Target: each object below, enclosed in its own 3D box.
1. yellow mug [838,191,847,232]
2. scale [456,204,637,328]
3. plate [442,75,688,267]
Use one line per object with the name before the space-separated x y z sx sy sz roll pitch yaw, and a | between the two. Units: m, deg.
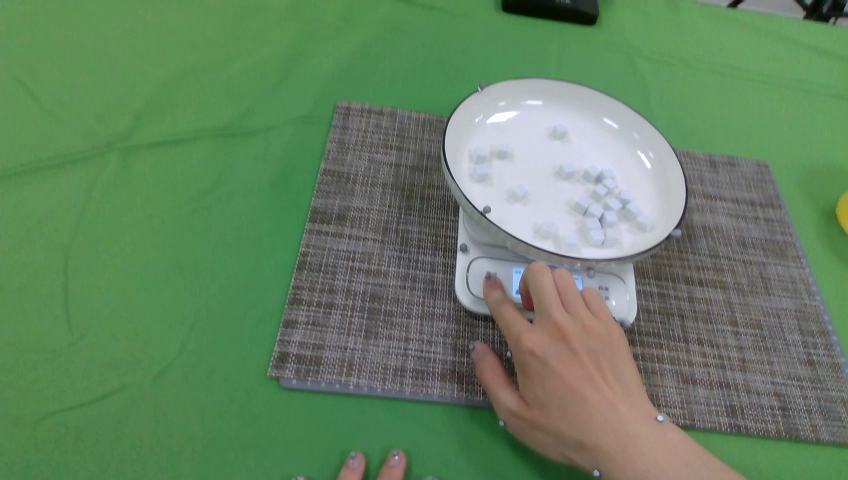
yellow mug | 0.464 -0.021 0.567 0.100 0.064 0.129 6 53 -4
scale | 0.106 -0.022 0.528 0.149 0.032 0.199 8 53 -3
plate | 0.116 -0.060 0.516 0.209 0.038 0.207 5 53 -6
